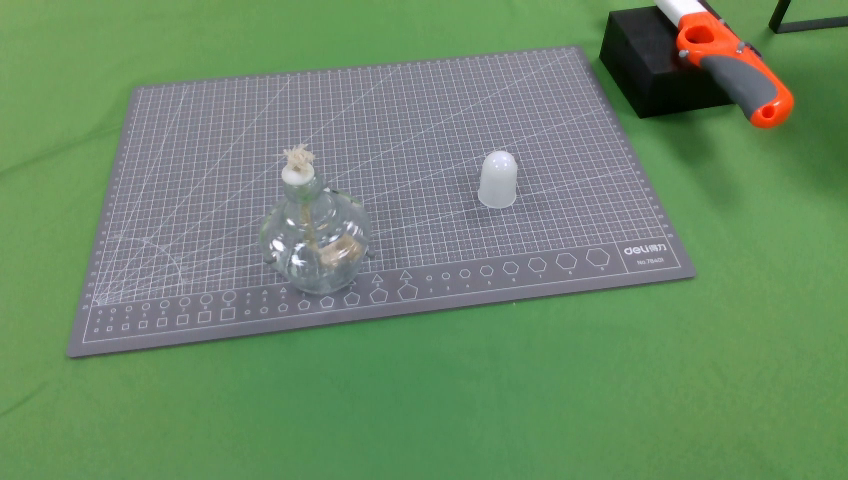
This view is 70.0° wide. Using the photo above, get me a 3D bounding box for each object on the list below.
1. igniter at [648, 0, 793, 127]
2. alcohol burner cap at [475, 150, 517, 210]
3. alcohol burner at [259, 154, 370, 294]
[{"bbox_3d":[0.245,-0.192,0.547,0.057,0.025,0.273,-11,50,-5],"label":"igniter"},{"bbox_3d":[0.059,-0.051,0.485,0.034,0.048,0.033,1,51,0],"label":"alcohol burner cap"},{"bbox_3d":[-0.077,-0.016,0.413,0.078,0.120,0.077,-1,53,1],"label":"alcohol burner"}]
